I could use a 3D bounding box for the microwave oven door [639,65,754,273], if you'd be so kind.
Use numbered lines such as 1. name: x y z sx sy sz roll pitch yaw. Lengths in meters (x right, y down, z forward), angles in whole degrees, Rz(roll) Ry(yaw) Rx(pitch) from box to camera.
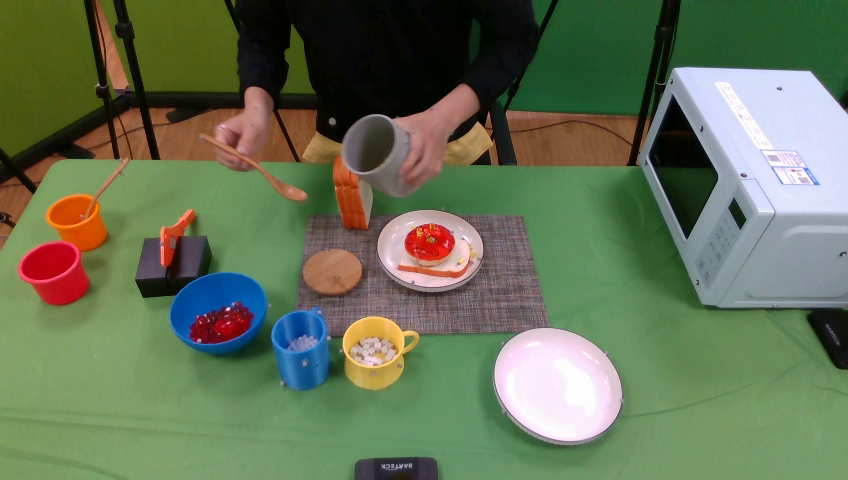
1. microwave oven door: 0.522 -0.147 1.192 0.039 0.245 0.353 0 47 -3

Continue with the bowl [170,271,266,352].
1. bowl: -0.333 0.132 1.006 0.151 0.077 0.150 2 46 -2

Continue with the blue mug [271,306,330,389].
1. blue mug: -0.188 0.163 0.969 0.082 0.106 0.116 15 47 10

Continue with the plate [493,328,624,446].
1. plate: 0.213 0.236 0.974 0.208 0.039 0.206 2 46 -2

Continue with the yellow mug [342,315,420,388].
1. yellow mug: -0.068 0.177 0.990 0.131 0.064 0.099 -15 50 -19

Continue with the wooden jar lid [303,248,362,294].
1. wooden jar lid: -0.169 0.059 1.121 0.108 0.021 0.107 2 45 -2

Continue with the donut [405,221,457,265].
1. donut: 0.014 0.004 1.136 0.099 0.048 0.098 0 46 0

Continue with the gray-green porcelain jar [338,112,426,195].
1. gray-green porcelain jar: -0.064 -0.138 1.007 0.105 0.127 0.105 -8 71 26

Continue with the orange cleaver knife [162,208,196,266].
1. orange cleaver knife: -0.454 -0.010 1.129 0.012 0.077 0.210 -1 17 -6

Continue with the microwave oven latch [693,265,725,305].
1. microwave oven latch: 0.522 0.081 1.115 0.030 0.029 0.078 2 46 -1

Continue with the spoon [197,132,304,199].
1. spoon: -0.281 -0.122 0.994 0.195 0.021 0.041 37 24 -26

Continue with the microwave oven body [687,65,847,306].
1. microwave oven body: 0.669 -0.111 1.176 0.326 0.261 0.439 0 46 -3

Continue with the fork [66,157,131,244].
1. fork: -0.608 -0.074 1.132 0.207 0.019 0.028 -52 48 10

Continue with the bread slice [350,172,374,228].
1. bread slice: -0.124 -0.104 1.207 0.018 0.135 0.106 -1 47 7

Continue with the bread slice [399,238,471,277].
1. bread slice: 0.025 0.025 1.160 0.131 0.019 0.104 7 47 7

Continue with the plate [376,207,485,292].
1. plate: 0.012 0.021 1.159 0.209 0.038 0.208 2 47 -2
